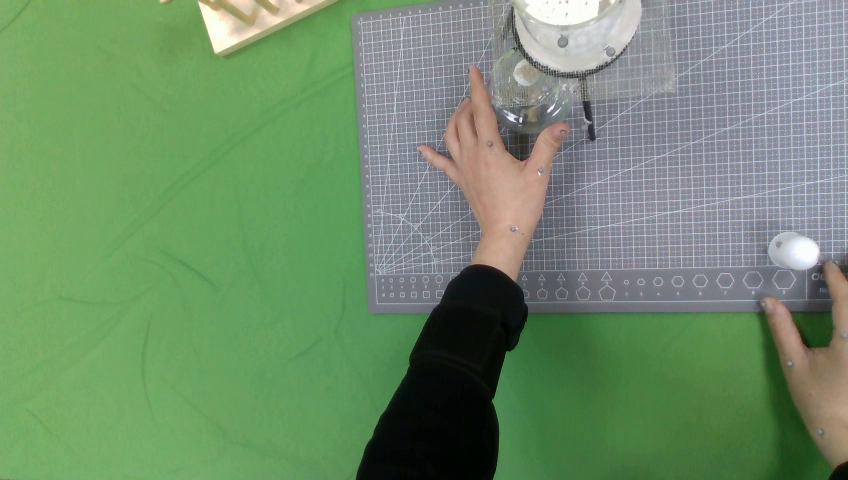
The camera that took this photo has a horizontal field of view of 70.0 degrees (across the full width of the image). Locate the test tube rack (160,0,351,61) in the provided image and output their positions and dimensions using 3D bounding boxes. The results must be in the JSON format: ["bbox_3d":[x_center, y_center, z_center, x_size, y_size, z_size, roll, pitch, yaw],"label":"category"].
[{"bbox_3d":[-0.125,-0.259,0.576,0.242,0.085,0.066,-20,88,15],"label":"test tube rack"}]

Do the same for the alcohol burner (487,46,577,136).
[{"bbox_3d":[0.089,-0.128,0.511,0.078,0.119,0.078,1,93,13],"label":"alcohol burner"}]

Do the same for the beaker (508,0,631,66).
[{"bbox_3d":[0.090,-0.154,0.381,0.083,0.100,0.074,12,97,14],"label":"beaker"}]

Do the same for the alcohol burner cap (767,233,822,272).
[{"bbox_3d":[0.308,0.011,0.500,0.034,0.048,0.034,1,93,14],"label":"alcohol burner cap"}]

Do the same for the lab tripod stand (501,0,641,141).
[{"bbox_3d":[0.124,-0.158,0.490,0.148,0.131,0.148,1,94,13],"label":"lab tripod stand"}]

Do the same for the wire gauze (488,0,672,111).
[{"bbox_3d":[0.108,-0.156,0.427,0.125,0.011,0.121,-3,96,12],"label":"wire gauze"}]
